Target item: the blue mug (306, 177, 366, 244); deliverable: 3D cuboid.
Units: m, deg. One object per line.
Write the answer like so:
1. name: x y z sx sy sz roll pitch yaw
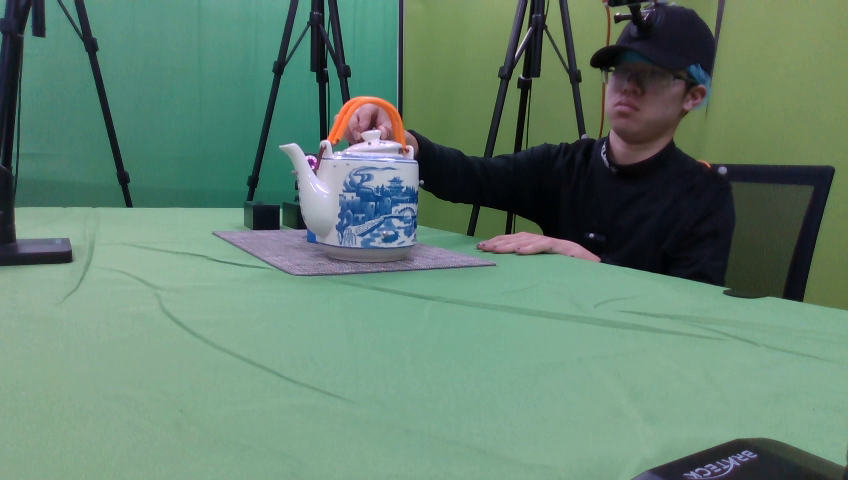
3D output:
1. blue mug: -0.144 -0.052 1.027 0.082 0.106 0.117 9 10 42

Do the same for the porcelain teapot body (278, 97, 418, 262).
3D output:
1. porcelain teapot body: -0.104 -0.086 0.842 0.206 0.225 0.144 -4 10 -38

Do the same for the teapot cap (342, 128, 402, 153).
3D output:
1. teapot cap: -0.074 -0.135 0.853 0.085 0.044 0.085 -10 6 1
